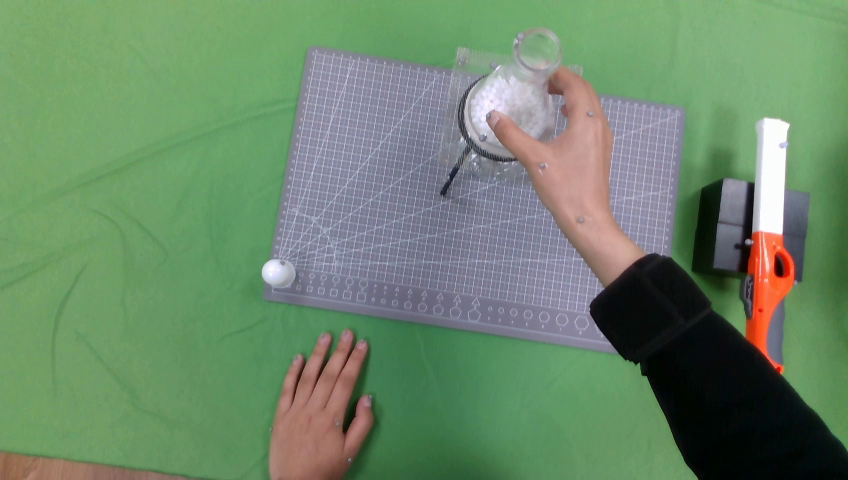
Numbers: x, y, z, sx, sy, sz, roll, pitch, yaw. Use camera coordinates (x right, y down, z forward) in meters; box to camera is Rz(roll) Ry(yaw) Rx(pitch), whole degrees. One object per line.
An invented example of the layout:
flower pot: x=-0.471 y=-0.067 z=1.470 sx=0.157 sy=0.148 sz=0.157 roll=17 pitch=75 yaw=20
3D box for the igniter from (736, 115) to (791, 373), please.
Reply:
igniter: x=0.364 y=0.001 z=0.646 sx=0.057 sy=0.025 sz=0.275 roll=8 pitch=81 yaw=-6

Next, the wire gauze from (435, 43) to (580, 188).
wire gauze: x=0.079 y=-0.120 z=0.569 sx=0.125 sy=0.011 sz=0.121 roll=11 pitch=83 yaw=-1

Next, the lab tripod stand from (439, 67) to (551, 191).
lab tripod stand: x=0.071 y=-0.117 z=0.636 sx=0.148 sy=0.132 sz=0.148 roll=0 pitch=82 yaw=-1

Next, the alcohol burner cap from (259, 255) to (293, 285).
alcohol burner cap: x=-0.162 y=0.031 z=0.653 sx=0.034 sy=0.048 sz=0.033 roll=1 pitch=82 yaw=-4

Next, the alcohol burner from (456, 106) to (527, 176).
alcohol burner: x=0.074 y=-0.110 z=0.646 sx=0.078 sy=0.119 sz=0.077 roll=0 pitch=84 yaw=-1

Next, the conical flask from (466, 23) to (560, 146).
conical flask: x=0.079 y=-0.131 z=0.501 sx=0.075 sy=0.122 sz=0.075 roll=1 pitch=80 yaw=-4
